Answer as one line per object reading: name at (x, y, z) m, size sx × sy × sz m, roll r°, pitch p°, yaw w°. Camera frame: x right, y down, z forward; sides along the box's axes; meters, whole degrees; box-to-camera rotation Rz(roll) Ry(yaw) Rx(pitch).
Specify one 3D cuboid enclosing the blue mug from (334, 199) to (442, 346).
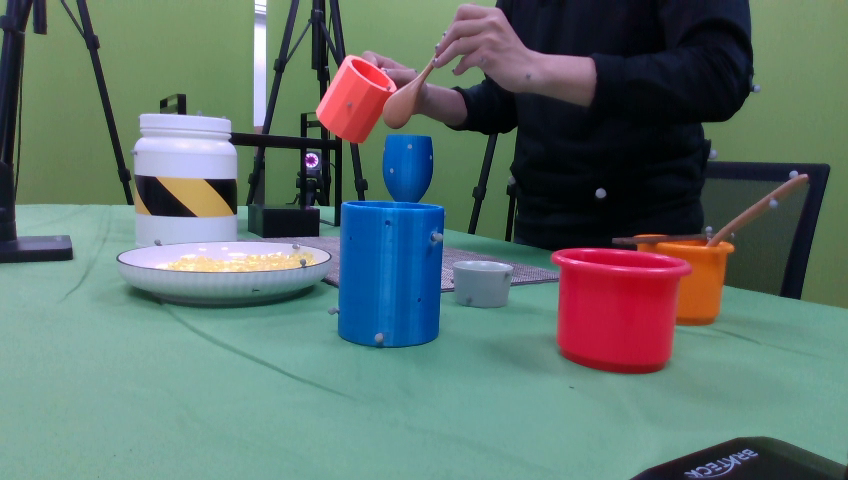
blue mug at (-0.034, 0.020, 0.498) m, size 0.083 × 0.106 × 0.116 m, roll 0°, pitch 7°, yaw -19°

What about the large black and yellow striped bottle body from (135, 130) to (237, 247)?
large black and yellow striped bottle body at (-0.327, -0.074, 0.838) m, size 0.131 × 0.184 × 0.130 m, roll 2°, pitch 7°, yaw 0°

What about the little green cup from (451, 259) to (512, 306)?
little green cup at (0.057, 0.043, 0.612) m, size 0.061 × 0.038 × 0.061 m, roll 3°, pitch 8°, yaw 0°

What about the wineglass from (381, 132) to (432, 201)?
wineglass at (-0.026, -0.062, 0.841) m, size 0.074 × 0.172 × 0.073 m, roll 2°, pitch 8°, yaw 0°

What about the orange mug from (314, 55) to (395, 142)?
orange mug at (-0.100, -0.220, 0.922) m, size 0.083 × 0.100 × 0.126 m, roll 34°, pitch 31°, yaw -6°

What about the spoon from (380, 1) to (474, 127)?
spoon at (0.005, -0.233, 0.803) m, size 0.041 × 0.193 × 0.022 m, roll 39°, pitch 7°, yaw 12°

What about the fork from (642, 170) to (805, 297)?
fork at (0.261, 0.003, 0.545) m, size 0.028 × 0.018 × 0.207 m, roll 5°, pitch -37°, yaw -15°

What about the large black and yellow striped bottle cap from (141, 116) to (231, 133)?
large black and yellow striped bottle cap at (-0.324, -0.157, 0.826) m, size 0.115 × 0.019 × 0.115 m, roll 1°, pitch 7°, yaw 0°

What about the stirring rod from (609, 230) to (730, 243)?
stirring rod at (0.241, -0.004, 0.582) m, size 0.177 × 0.006 × 0.014 m, roll -4°, pitch 10°, yaw -33°

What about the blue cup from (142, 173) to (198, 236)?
blue cup at (-0.425, -0.060, 1.014) m, size 0.093 × 0.100 × 0.092 m, roll 4°, pitch 9°, yaw 0°

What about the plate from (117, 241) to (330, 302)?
plate at (-0.203, 0.031, 0.630) m, size 0.209 × 0.038 × 0.209 m, roll 3°, pitch 7°, yaw 0°
